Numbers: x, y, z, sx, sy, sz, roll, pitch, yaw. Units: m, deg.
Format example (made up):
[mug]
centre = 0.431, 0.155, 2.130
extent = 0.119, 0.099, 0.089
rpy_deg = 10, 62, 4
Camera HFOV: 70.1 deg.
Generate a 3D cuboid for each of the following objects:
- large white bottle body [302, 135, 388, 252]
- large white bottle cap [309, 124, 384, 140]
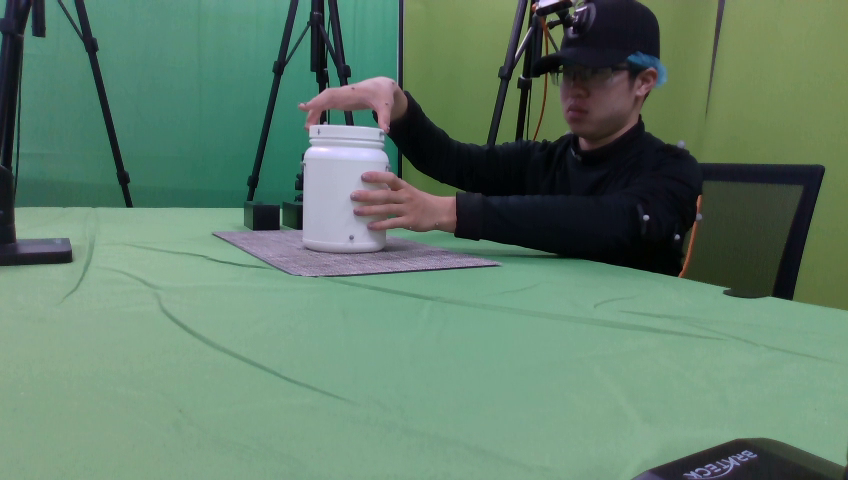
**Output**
[large white bottle body]
centre = -0.122, -0.080, 0.937
extent = 0.131, 0.184, 0.130
rpy_deg = 2, 7, 0
[large white bottle cap]
centre = -0.118, -0.165, 0.927
extent = 0.115, 0.018, 0.115
rpy_deg = 2, 7, 0
